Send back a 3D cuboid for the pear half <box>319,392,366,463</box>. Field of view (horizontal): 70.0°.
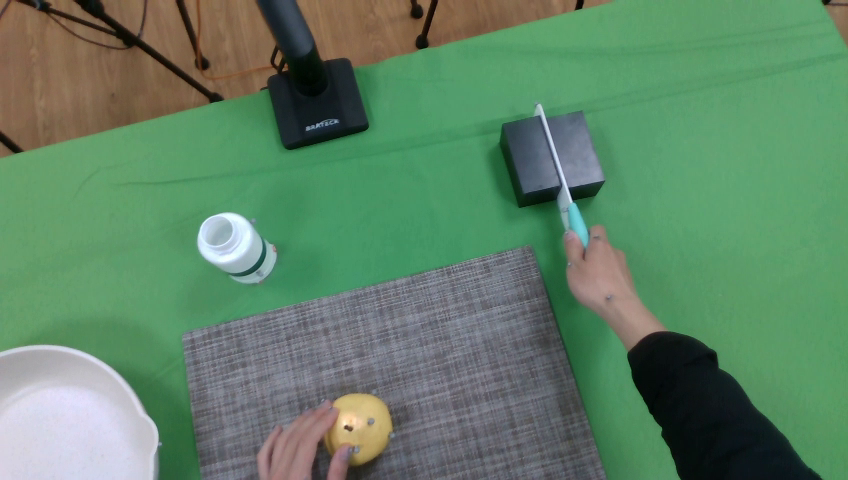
[{"bbox_3d":[-0.089,0.204,0.660,0.056,0.110,0.076,-11,69,1],"label":"pear half"}]

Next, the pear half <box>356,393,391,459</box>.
[{"bbox_3d":[-0.053,0.203,0.670,0.031,0.088,0.070,-10,69,0],"label":"pear half"}]

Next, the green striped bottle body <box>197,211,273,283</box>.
[{"bbox_3d":[-0.226,0.007,0.722,0.063,0.120,0.063,0,72,2],"label":"green striped bottle body"}]

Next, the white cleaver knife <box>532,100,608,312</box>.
[{"bbox_3d":[0.178,-0.048,0.756,0.021,0.066,0.284,-14,71,5],"label":"white cleaver knife"}]

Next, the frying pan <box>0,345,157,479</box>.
[{"bbox_3d":[-0.401,0.353,0.629,0.307,0.103,0.483,-19,65,-4],"label":"frying pan"}]
